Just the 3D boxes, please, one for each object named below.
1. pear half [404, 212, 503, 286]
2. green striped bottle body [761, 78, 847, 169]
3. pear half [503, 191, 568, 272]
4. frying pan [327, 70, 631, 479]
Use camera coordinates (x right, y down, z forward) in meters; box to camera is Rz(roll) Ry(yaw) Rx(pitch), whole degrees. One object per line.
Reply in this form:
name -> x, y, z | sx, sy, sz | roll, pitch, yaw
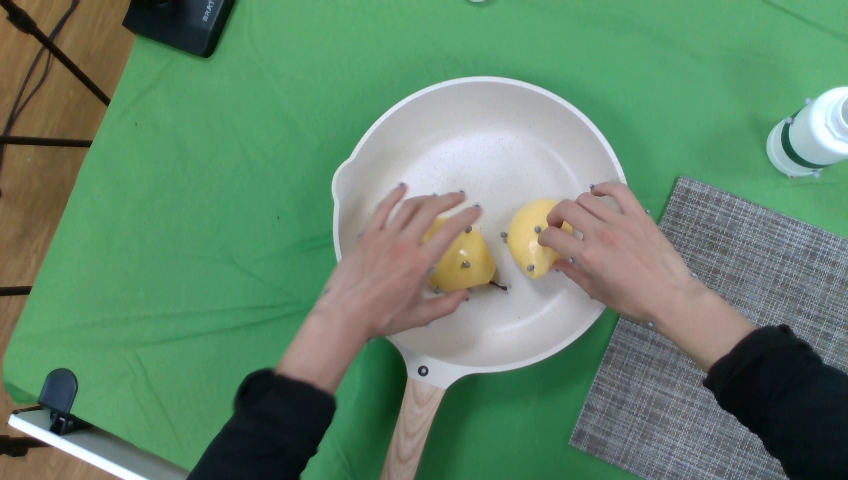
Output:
pear half -> 0.035, 0.016, 0.627 | 0.110, 0.056, 0.076 | 28, 94, 3
green striped bottle body -> 0.371, -0.109, 0.565 | 0.063, 0.119, 0.063 | -1, 85, 7
pear half -> 0.107, -0.014, 0.612 | 0.070, 0.031, 0.087 | -12, 56, 37
frying pan -> 0.018, 0.075, 0.600 | 0.306, 0.103, 0.486 | 18, 80, 8
